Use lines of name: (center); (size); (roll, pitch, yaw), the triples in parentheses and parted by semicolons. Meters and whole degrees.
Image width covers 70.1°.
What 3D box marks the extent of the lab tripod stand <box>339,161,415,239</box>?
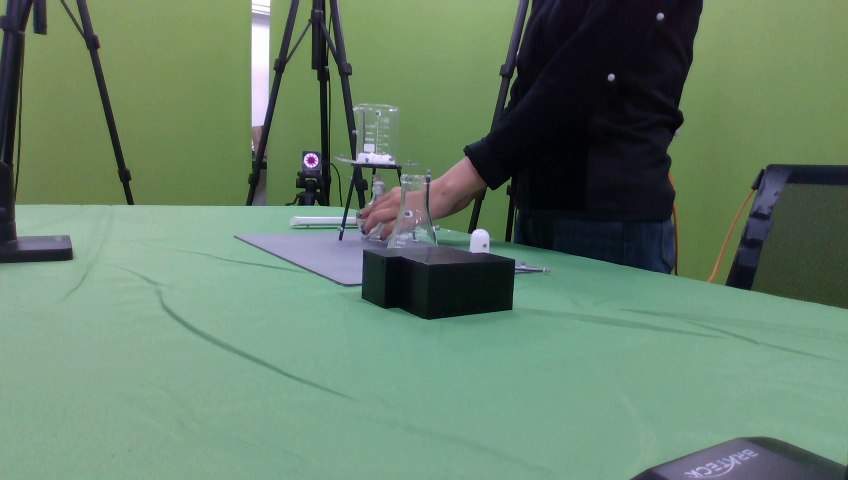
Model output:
lab tripod stand: (-0.082, -0.070, 1.059); (0.148, 0.131, 0.148); (4, 6, 0)

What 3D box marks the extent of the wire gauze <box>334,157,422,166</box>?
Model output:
wire gauze: (-0.081, -0.135, 1.051); (0.122, 0.011, 0.124); (2, 5, -30)

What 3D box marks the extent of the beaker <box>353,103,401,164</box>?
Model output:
beaker: (-0.084, -0.183, 1.045); (0.084, 0.100, 0.074); (4, 6, 3)

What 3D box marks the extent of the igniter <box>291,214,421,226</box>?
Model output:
igniter: (-0.135, -0.041, 1.249); (0.278, 0.025, 0.057); (-1, -2, -28)

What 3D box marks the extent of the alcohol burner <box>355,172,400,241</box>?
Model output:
alcohol burner: (-0.079, -0.057, 1.041); (0.078, 0.119, 0.078); (4, 9, 0)

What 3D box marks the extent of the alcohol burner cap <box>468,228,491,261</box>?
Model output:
alcohol burner cap: (0.082, 0.006, 0.878); (0.034, 0.048, 0.034); (2, 6, 0)

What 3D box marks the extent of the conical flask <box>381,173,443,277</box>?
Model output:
conical flask: (-0.012, -0.020, 0.731); (0.075, 0.122, 0.075); (2, 7, 0)

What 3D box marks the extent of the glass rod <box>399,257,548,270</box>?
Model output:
glass rod: (0.064, 0.031, 0.806); (0.199, 0.008, 0.008); (3, 7, 10)
